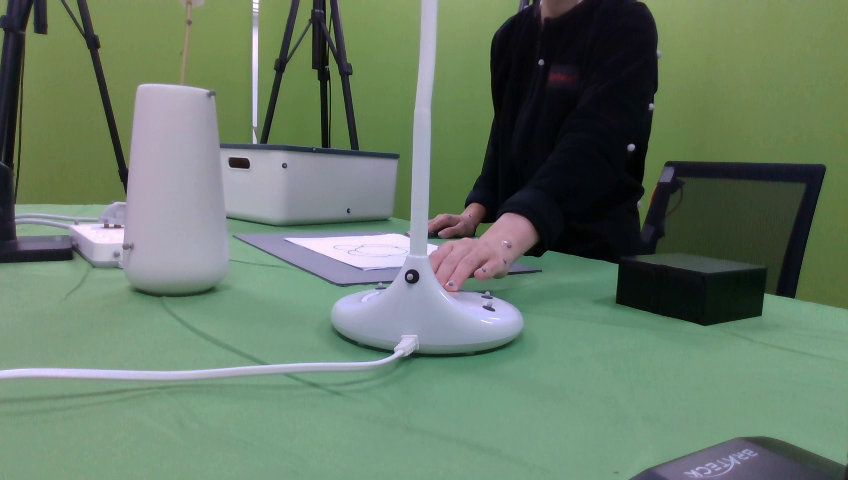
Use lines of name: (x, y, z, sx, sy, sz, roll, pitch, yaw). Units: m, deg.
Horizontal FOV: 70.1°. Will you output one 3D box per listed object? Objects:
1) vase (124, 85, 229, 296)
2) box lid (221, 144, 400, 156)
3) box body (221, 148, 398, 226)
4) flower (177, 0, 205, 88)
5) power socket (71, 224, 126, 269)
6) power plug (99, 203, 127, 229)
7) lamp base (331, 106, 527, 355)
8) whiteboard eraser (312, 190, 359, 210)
vase: (-0.244, -0.047, 0.598, 0.098, 0.200, 0.098, 3, 8, 0)
box lid: (-0.263, -0.202, 1.369, 0.262, 0.015, 0.373, 9, 10, 39)
box body: (-0.264, -0.129, 1.380, 0.253, 0.160, 0.366, 8, 9, 39)
flower: (-0.243, -0.131, 0.609, 0.044, 0.361, 0.038, -5, -12, 11)
power socket: (-0.409, 0.004, 0.793, 0.072, 0.032, 0.225, -2, 8, -37)
power plug: (-0.415, -0.026, 0.848, 0.073, 0.052, 0.035, 6, 5, -27)
lamp base: (0.006, -0.012, 0.478, 0.161, 0.180, 0.179, 2, 10, 2)
whiteboard eraser: (-0.223, -0.100, 1.516, 0.112, 0.042, 0.056, 8, 17, 31)
